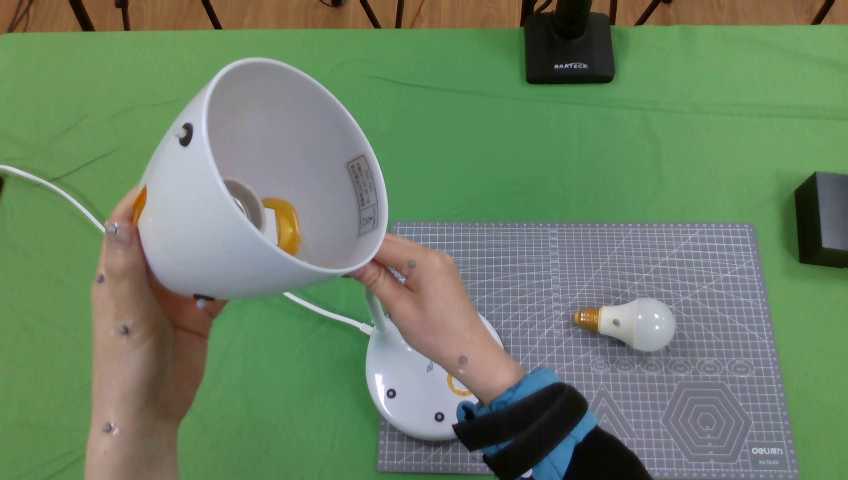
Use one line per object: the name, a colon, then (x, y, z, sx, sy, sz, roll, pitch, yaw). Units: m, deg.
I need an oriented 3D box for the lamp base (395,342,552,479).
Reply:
lamp base: (0.042, 0.159, 0.605, 0.179, 0.182, 0.159, 8, 68, 11)

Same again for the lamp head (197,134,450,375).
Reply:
lamp head: (-0.061, 0.022, 0.316, 0.113, 0.123, 0.111, 19, 57, -32)

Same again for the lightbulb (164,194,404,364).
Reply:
lightbulb: (-0.060, 0.021, 0.260, 0.108, 0.060, 0.059, -27, 68, -7)
